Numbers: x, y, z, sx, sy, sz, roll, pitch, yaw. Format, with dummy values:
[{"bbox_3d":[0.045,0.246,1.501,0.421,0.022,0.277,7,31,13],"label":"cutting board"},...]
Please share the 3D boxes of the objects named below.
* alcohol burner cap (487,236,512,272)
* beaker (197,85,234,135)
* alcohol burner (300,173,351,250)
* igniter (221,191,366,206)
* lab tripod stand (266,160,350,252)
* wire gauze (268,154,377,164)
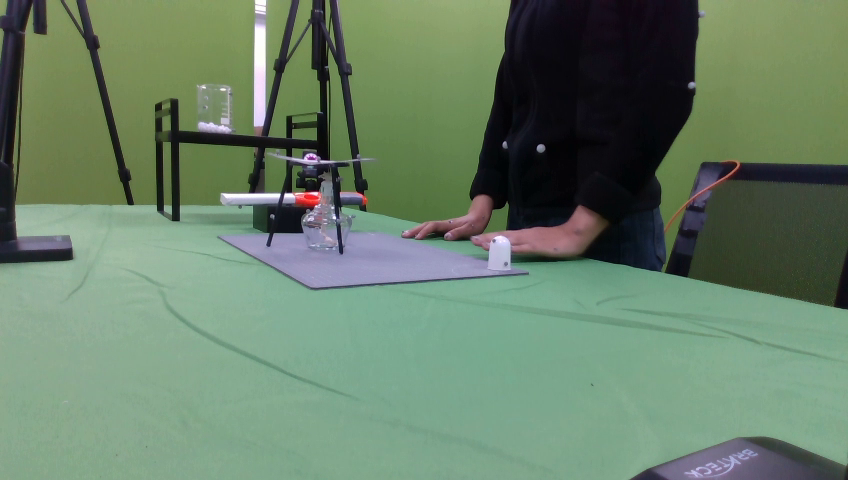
[{"bbox_3d":[0.101,0.019,0.802,0.034,0.048,0.034,3,7,0],"label":"alcohol burner cap"},{"bbox_3d":[-0.444,-0.275,1.283,0.074,0.100,0.084,5,8,22],"label":"beaker"},{"bbox_3d":[-0.149,-0.044,0.921,0.078,0.119,0.078,4,7,0],"label":"alcohol burner"},{"bbox_3d":[-0.240,-0.079,1.150,0.278,0.025,0.057,-3,20,-32],"label":"igniter"},{"bbox_3d":[-0.164,-0.054,0.915,0.148,0.131,0.148,2,9,0],"label":"lab tripod stand"},{"bbox_3d":[-0.154,-0.120,0.910,0.122,0.011,0.124,-5,11,-44],"label":"wire gauze"}]
